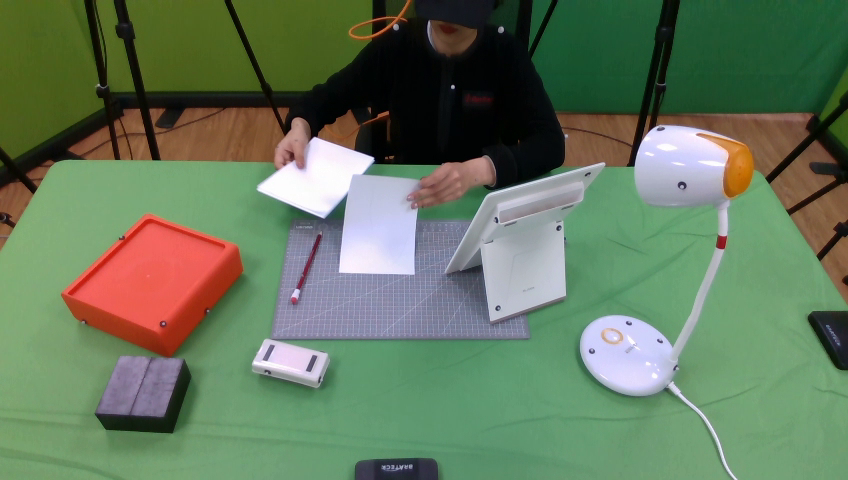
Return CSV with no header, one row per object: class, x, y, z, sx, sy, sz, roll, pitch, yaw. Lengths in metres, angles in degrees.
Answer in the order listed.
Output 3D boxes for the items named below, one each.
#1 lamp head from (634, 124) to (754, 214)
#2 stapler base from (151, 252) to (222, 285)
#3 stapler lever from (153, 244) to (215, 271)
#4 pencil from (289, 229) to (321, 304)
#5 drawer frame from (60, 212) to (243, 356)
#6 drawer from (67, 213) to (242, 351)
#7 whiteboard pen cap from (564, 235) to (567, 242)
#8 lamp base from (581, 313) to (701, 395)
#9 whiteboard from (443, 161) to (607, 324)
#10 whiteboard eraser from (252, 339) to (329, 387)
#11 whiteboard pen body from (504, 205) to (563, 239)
lamp head,0.351,-0.089,0.775,0.112,0.113,0.122,-30,30,-28
stapler base,-0.432,0.047,1.102,0.130,0.024,0.041,16,33,12
stapler lever,-0.431,0.025,1.088,0.118,0.040,0.027,15,33,12
pencil,-0.221,0.045,1.141,0.012,0.012,0.193,8,45,4
drawer frame,-0.462,0.070,1.053,0.201,0.083,0.213,18,48,12
drawer,-0.461,0.068,1.056,0.194,0.073,0.211,19,48,13
whiteboard pen cap,0.271,-0.008,1.225,0.033,0.018,0.018,33,53,22
lamp base,0.361,0.144,0.973,0.178,0.181,0.160,34,53,23
whiteboard,0.185,0.026,1.028,0.217,0.306,0.143,-15,68,-18
whiteboard eraser,-0.215,0.199,0.976,0.112,0.042,0.055,12,45,7
whiteboard pen body,0.225,-0.036,1.249,0.140,0.017,0.017,31,52,23
